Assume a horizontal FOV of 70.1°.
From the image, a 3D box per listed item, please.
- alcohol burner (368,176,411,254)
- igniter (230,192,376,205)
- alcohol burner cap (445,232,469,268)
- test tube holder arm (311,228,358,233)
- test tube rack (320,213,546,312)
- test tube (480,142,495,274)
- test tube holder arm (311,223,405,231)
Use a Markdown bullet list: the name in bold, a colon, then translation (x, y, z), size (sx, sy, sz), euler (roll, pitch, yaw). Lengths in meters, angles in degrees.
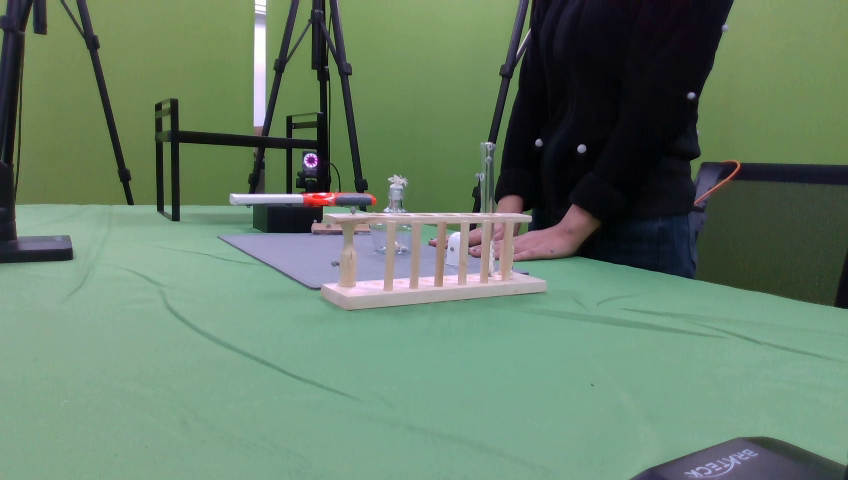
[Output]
- **alcohol burner**: translation (-0.045, -0.038, 0.913), size (0.078, 0.119, 0.078), euler (4, 7, 0)
- **igniter**: translation (-0.226, -0.079, 1.161), size (0.278, 0.025, 0.057), euler (-2, 15, -28)
- **alcohol burner cap**: translation (0.045, 0.013, 0.829), size (0.034, 0.048, 0.034), euler (2, 8, 0)
- **test tube holder arm**: translation (-0.163, -0.021, 1.102), size (0.088, 0.015, 0.010), euler (-2, -21, -23)
- **test tube rack**: translation (0.018, 0.017, 0.638), size (0.244, 0.085, 0.066), euler (-2, 9, -31)
- **test tube**: translation (0.072, -0.036, 0.686), size (0.017, 0.150, 0.017), euler (-1, 5, 0)
- **test tube holder arm**: translation (-0.119, -0.024, 1.116), size (0.179, 0.015, 0.013), euler (-2, -21, -23)
